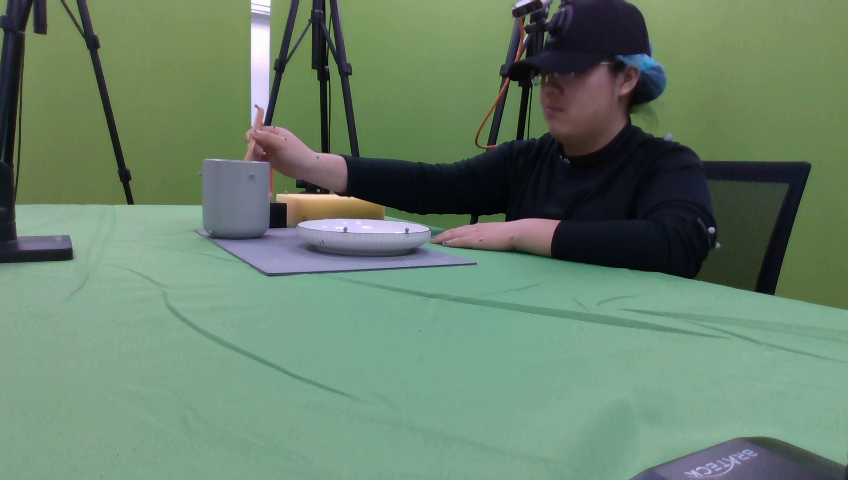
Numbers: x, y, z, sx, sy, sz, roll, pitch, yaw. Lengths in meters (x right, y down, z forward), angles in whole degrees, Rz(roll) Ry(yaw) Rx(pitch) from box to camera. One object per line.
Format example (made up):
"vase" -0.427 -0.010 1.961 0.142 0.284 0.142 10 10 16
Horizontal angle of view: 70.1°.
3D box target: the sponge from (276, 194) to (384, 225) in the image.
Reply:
"sponge" -0.203 -0.066 1.311 0.208 0.061 0.117 -2 8 -35

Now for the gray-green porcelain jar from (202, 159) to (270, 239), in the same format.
"gray-green porcelain jar" -0.310 -0.068 0.999 0.106 0.126 0.106 3 8 0

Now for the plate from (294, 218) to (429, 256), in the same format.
"plate" -0.096 -0.005 0.936 0.208 0.039 0.207 3 7 0

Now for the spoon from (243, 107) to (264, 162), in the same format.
"spoon" -0.297 -0.151 1.034 0.042 0.193 0.021 20 -28 -23
